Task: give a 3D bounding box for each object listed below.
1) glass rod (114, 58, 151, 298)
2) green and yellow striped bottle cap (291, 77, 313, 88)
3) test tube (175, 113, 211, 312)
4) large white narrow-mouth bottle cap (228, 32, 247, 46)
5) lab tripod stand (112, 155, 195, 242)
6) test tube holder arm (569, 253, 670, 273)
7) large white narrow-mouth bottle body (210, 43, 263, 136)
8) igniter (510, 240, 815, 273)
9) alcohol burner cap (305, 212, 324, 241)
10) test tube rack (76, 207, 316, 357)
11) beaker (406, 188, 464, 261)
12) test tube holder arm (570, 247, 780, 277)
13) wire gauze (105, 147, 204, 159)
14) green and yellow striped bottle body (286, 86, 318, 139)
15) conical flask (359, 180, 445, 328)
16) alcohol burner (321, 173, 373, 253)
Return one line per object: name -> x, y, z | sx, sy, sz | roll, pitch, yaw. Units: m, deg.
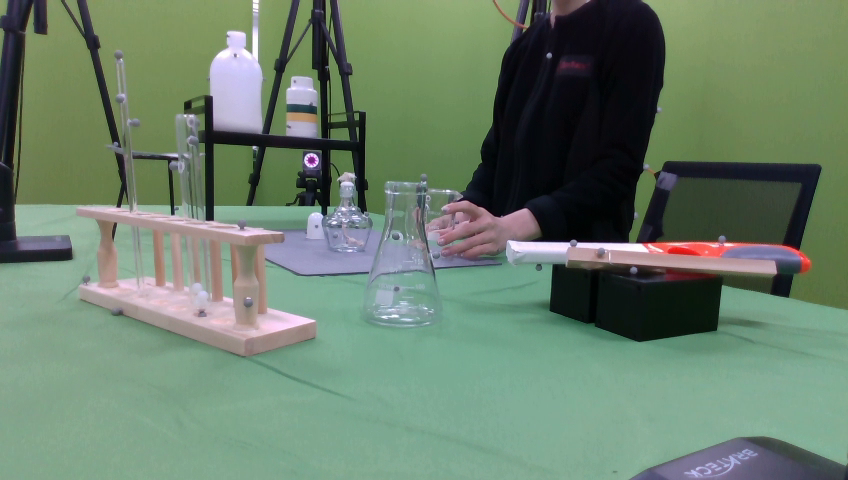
glass rod -> -0.236, -0.044, 0.492 | 0.008, 0.199, 0.008 | 0, 15, 0
green and yellow striped bottle cap -> -0.249, -0.321, 1.237 | 0.045, 0.020, 0.045 | 3, 5, 0
test tube -> -0.174, -0.020, 0.458 | 0.017, 0.150, 0.017 | -3, 5, 1
large white narrow-mouth bottle cap -> -0.364, -0.391, 1.180 | 0.038, 0.024, 0.037 | 3, 8, 0
lab tripod stand -> -0.405, -0.064, 0.931 | 0.148, 0.131, 0.148 | 1, 6, 0
test tube holder arm -> 0.172, 0.019, 0.532 | 0.088, 0.015, 0.010 | 3, -23, 3
large white narrow-mouth bottle body -> -0.369, -0.305, 1.194 | 0.102, 0.194, 0.102 | 3, 8, 0
igniter -> 0.220, 0.015, 0.565 | 0.277, 0.025, 0.057 | 2, 16, 0
alcohol burner cap -> -0.185, -0.023, 1.027 | 0.034, 0.048, 0.034 | 2, 7, 0
test tube rack -> -0.196, 0.023, 0.499 | 0.241, 0.085, 0.067 | 8, 9, 36
beaker -> 0.014, -0.024, 0.870 | 0.084, 0.100, 0.074 | 2, 8, -4
test tube holder arm -> 0.217, 0.019, 0.525 | 0.178, 0.015, 0.013 | 3, -23, 3
wire gauze -> -0.407, -0.131, 0.928 | 0.125, 0.011, 0.121 | 2, 6, -11
green and yellow striped bottle body -> -0.251, -0.270, 1.245 | 0.063, 0.119, 0.063 | 2, 7, 0
conical flask -> -0.017, 0.010, 0.522 | 0.075, 0.122, 0.075 | 2, 7, 0
alcohol burner -> -0.115, -0.041, 0.905 | 0.078, 0.119, 0.078 | 1, 6, 0
